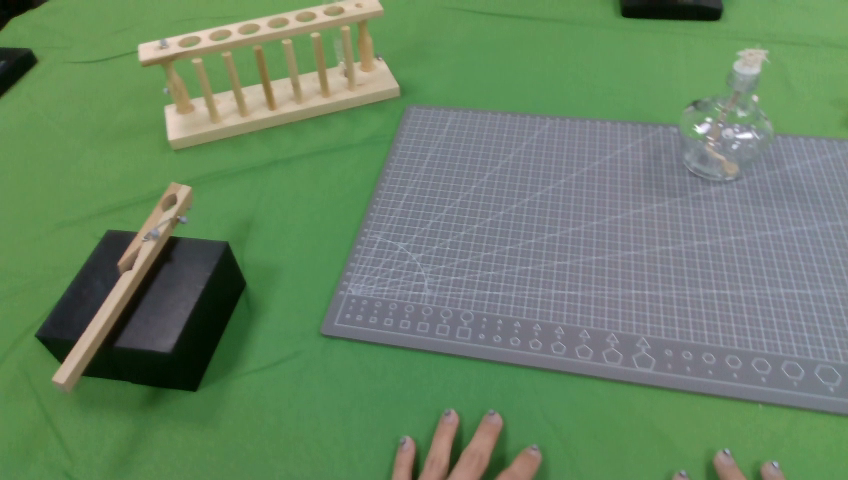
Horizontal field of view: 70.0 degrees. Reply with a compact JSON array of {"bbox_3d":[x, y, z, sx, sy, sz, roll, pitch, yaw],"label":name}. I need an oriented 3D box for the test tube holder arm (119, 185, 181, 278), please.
[{"bbox_3d":[-0.205,-0.007,0.459,0.010,0.015,0.087,10,50,2],"label":"test tube holder arm"}]

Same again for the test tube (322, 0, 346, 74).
[{"bbox_3d":[-0.096,-0.240,0.621,0.017,0.152,0.017,-4,44,4],"label":"test tube"}]

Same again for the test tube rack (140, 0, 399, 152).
[{"bbox_3d":[-0.154,-0.173,0.630,0.243,0.086,0.066,-17,48,-12],"label":"test tube rack"}]

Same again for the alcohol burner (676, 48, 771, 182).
[{"bbox_3d":[0.264,-0.110,0.524,0.078,0.120,0.077,-1,46,1],"label":"alcohol burner"}]

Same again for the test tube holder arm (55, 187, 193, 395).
[{"bbox_3d":[-0.207,0.027,0.430,0.013,0.015,0.177,10,50,2],"label":"test tube holder arm"}]
